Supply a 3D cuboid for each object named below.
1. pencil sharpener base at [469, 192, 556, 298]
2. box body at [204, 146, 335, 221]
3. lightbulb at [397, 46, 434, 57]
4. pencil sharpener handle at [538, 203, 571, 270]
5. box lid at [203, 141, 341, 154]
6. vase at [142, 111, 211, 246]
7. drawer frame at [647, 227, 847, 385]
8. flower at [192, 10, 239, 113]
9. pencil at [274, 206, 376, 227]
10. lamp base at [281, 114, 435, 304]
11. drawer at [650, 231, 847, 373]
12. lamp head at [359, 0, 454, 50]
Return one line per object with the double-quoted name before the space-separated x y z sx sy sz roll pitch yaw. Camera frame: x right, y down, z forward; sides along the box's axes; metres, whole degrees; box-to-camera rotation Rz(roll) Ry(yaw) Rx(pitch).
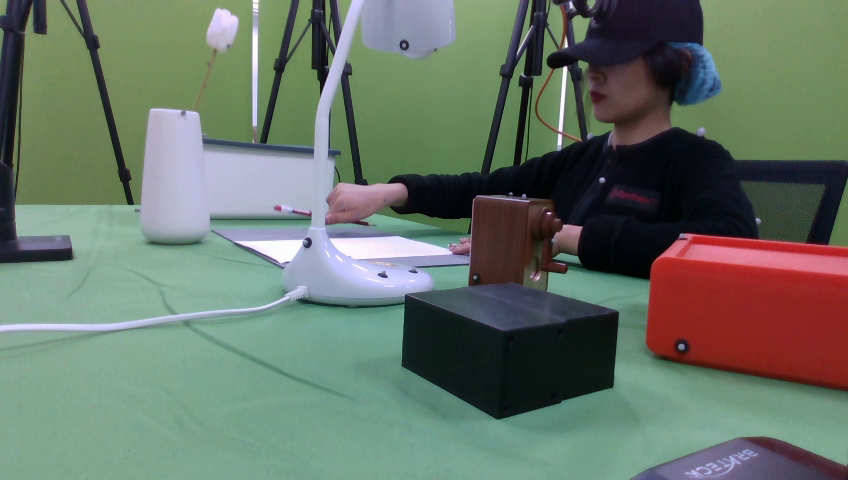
"pencil sharpener base" 0.097 0.003 0.652 0.076 0.107 0.061 8 9 38
"box body" -0.411 -0.135 1.386 0.366 0.160 0.253 -2 9 -29
"lightbulb" -0.017 -0.264 0.692 0.059 0.108 0.059 -9 29 5
"pencil sharpener handle" 0.137 -0.003 0.619 0.030 0.067 0.036 8 6 38
"box lid" -0.396 -0.212 1.373 0.373 0.015 0.262 -1 9 -29
"vase" -0.378 -0.093 0.920 0.098 0.200 0.098 2 9 0
"drawer frame" 0.303 0.043 0.495 0.201 0.082 0.214 6 9 26
"flower" -0.354 -0.174 0.915 0.038 0.361 0.044 18 -3 12
"pencil" -0.172 -0.040 1.082 0.195 0.012 0.012 10 3 -31
"lamp base" -0.071 -0.034 0.614 0.160 0.180 0.180 6 10 27
"drawer" 0.303 0.044 0.499 0.194 0.073 0.212 7 9 27
"lamp head" -0.024 -0.283 0.674 0.112 0.123 0.112 -3 38 3
